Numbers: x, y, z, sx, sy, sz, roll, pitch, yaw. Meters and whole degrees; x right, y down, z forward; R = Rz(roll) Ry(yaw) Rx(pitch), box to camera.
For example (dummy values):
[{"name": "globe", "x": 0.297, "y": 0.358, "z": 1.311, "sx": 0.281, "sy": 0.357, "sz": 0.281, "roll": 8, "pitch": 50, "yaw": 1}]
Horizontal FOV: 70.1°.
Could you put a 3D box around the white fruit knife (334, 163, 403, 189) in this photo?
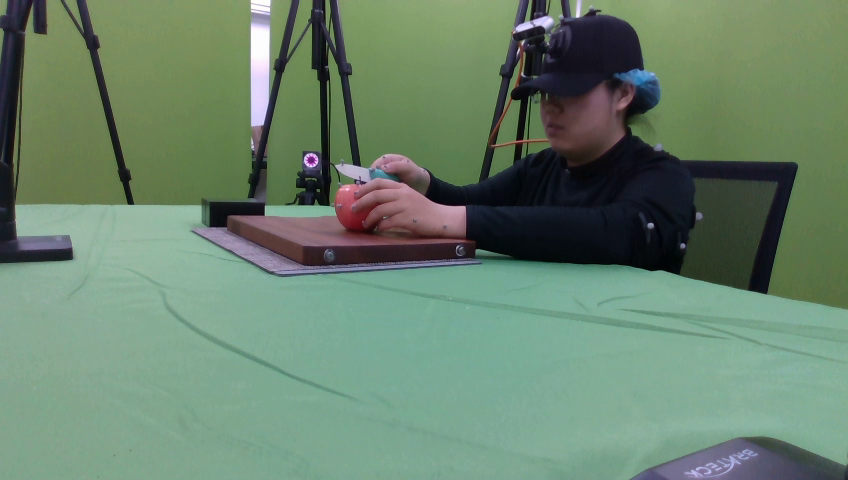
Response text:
[{"name": "white fruit knife", "x": -0.089, "y": -0.110, "z": 1.014, "sx": 0.016, "sy": 0.027, "sz": 0.208, "roll": 6, "pitch": 1, "yaw": 26}]

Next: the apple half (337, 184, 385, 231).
[{"name": "apple half", "x": -0.092, "y": -0.050, "z": 0.949, "sx": 0.053, "sy": 0.074, "sz": 0.081, "roll": 13, "pitch": 9, "yaw": 36}]

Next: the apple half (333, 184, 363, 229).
[{"name": "apple half", "x": -0.123, "y": -0.056, "z": 0.972, "sx": 0.032, "sy": 0.081, "sz": 0.082, "roll": 13, "pitch": 12, "yaw": 36}]
